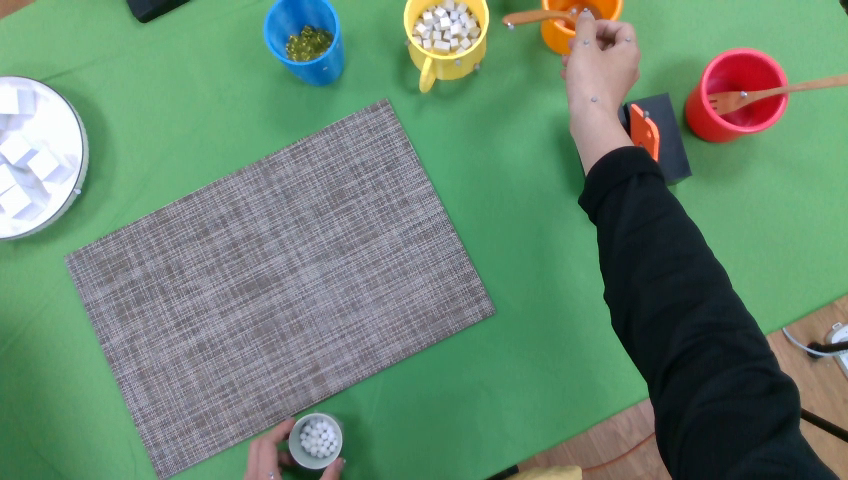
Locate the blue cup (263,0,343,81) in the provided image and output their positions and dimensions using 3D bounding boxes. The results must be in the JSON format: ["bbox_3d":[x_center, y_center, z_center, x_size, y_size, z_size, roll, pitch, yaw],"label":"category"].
[{"bbox_3d":[-0.135,-0.235,0.720,0.092,0.100,0.092,0,85,1],"label":"blue cup"}]

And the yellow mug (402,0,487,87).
[{"bbox_3d":[0.020,-0.246,0.732,0.100,0.064,0.130,22,87,4],"label":"yellow mug"}]

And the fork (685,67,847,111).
[{"bbox_3d":[0.396,-0.171,0.670,0.206,0.019,0.028,-3,79,44],"label":"fork"}]

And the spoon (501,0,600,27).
[{"bbox_3d":[0.147,-0.259,0.687,0.021,0.194,0.041,-36,80,43],"label":"spoon"}]

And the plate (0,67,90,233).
[{"bbox_3d":[-0.514,-0.109,0.754,0.207,0.039,0.207,0,85,2],"label":"plate"}]

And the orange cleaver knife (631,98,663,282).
[{"bbox_3d":[0.255,-0.055,0.696,0.012,0.076,0.213,-11,113,4],"label":"orange cleaver knife"}]

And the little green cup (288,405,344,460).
[{"bbox_3d":[-0.123,0.223,0.708,0.061,0.039,0.061,0,85,6],"label":"little green cup"}]
